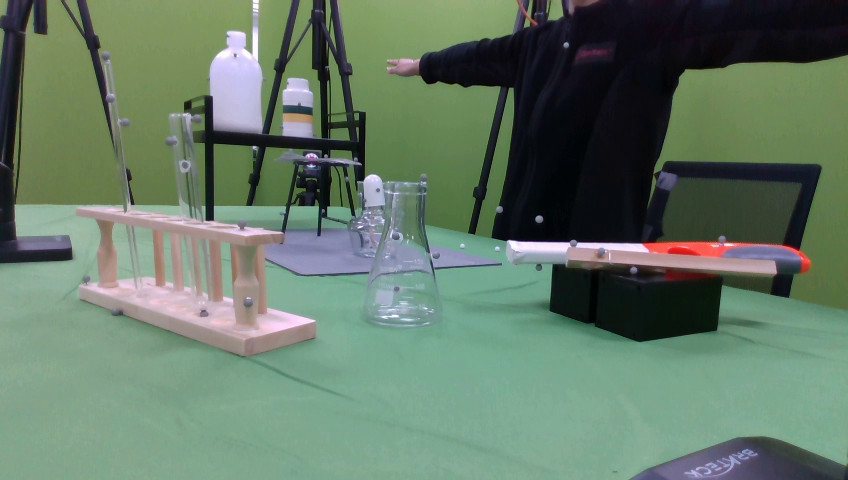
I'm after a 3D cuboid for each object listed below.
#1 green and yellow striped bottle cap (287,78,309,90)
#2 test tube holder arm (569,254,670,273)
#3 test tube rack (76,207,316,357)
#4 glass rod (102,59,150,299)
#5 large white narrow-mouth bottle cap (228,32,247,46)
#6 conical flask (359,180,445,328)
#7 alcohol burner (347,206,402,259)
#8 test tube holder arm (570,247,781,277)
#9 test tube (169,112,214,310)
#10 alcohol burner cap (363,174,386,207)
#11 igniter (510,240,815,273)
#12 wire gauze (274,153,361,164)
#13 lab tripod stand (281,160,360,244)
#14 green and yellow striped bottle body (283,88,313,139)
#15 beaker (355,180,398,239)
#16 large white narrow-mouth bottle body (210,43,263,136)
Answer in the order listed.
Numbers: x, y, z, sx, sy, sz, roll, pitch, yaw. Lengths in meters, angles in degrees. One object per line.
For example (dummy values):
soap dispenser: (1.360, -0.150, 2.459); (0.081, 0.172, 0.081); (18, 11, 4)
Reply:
green and yellow striped bottle cap: (-0.265, -0.326, 1.268); (0.045, 0.020, 0.045); (4, 6, 0)
test tube holder arm: (0.172, 0.019, 0.532); (0.088, 0.015, 0.010); (3, -23, 4)
test tube rack: (-0.196, 0.023, 0.500); (0.241, 0.085, 0.067); (8, 9, 36)
glass rod: (-0.244, -0.045, 0.496); (0.008, 0.199, 0.008); (-3, 13, 1)
large white narrow-mouth bottle cap: (-0.364, -0.391, 1.180); (0.038, 0.024, 0.037); (3, 8, 0)
conical flask: (-0.017, 0.010, 0.522); (0.075, 0.122, 0.075); (2, 7, 0)
alcohol burner: (-0.071, -0.034, 0.867); (0.078, 0.119, 0.078); (0, 7, 0)
test tube holder arm: (0.217, 0.019, 0.524); (0.178, 0.015, 0.013); (3, -23, 3)
test tube: (-0.175, -0.020, 0.455); (0.017, 0.150, 0.017); (-3, 9, 1)
alcohol burner cap: (-0.072, -0.070, 0.861); (0.034, 0.048, 0.034); (-7, 7, 1)
igniter: (0.220, 0.015, 0.565); (0.277, 0.025, 0.057); (2, 16, 0)
wire gauze: (-0.174, -0.130, 0.978); (0.125, 0.011, 0.121); (1, 6, -19)
lab tripod stand: (-0.170, -0.063, 0.983); (0.148, 0.131, 0.148); (1, 6, 0)
green and yellow striped bottle body: (-0.266, -0.275, 1.275); (0.063, 0.119, 0.063); (3, 7, 0)
beaker: (-0.083, -0.055, 1.083); (0.083, 0.100, 0.074); (8, 9, 31)
large white narrow-mouth bottle body: (-0.369, -0.306, 1.194); (0.102, 0.194, 0.102); (3, 8, 0)
